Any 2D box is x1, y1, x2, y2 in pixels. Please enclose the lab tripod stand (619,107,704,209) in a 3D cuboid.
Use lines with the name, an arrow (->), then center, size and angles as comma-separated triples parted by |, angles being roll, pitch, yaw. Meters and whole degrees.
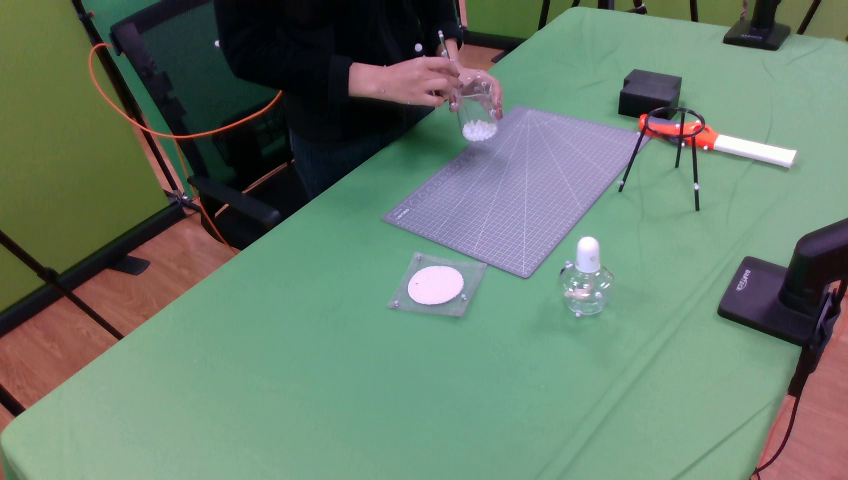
lab tripod stand -> 0.400, -0.136, 0.980 | 0.148, 0.132, 0.147 | -4, 41, 4

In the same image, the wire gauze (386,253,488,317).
wire gauze -> 0.021, 0.067, 0.910 | 0.121, 0.011, 0.125 | 9, 41, 20

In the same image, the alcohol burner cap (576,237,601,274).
alcohol burner cap -> 0.216, 0.018, 0.793 | 0.034, 0.048, 0.033 | -7, 35, 6

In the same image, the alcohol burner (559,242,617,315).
alcohol burner -> 0.222, 0.045, 0.816 | 0.078, 0.119, 0.077 | -4, 42, 4

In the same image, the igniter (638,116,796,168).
igniter -> 0.517, -0.181, 1.093 | 0.274, 0.025, 0.057 | 23, 65, 32

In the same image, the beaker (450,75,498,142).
beaker -> 0.096, -0.235, 1.093 | 0.074, 0.101, 0.083 | -38, 45, -24

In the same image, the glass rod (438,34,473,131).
glass rod -> 0.057, -0.267, 1.047 | 0.008, 0.201, 0.008 | -13, 45, 13
